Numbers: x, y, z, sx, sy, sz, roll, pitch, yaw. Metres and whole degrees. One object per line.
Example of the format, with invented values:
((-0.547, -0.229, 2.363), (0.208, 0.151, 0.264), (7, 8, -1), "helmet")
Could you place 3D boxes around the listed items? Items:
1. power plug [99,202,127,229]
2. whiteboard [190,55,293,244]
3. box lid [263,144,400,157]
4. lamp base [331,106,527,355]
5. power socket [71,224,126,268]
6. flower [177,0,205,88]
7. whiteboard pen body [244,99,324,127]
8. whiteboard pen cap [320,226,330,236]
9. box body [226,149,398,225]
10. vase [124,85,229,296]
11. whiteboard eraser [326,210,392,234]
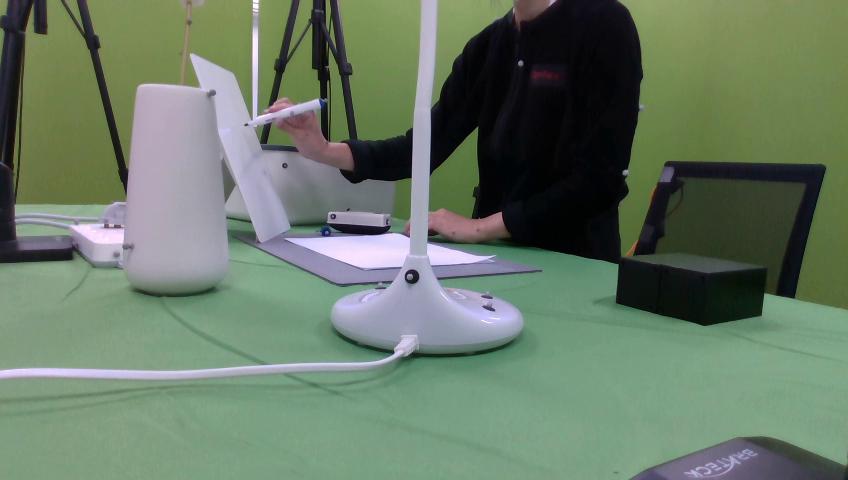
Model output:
((-0.415, -0.026, 0.848), (0.073, 0.052, 0.035), (6, 5, -28), "power plug")
((-0.362, -0.129, 1.029), (0.144, 0.305, 0.217), (-18, 7, 3), "whiteboard")
((-0.263, -0.203, 1.369), (0.262, 0.015, 0.373), (9, 10, 39), "box lid")
((0.006, -0.012, 0.478), (0.161, 0.180, 0.179), (2, 10, 2), "lamp base")
((-0.409, 0.004, 0.793), (0.072, 0.032, 0.225), (-2, 8, -37), "power socket")
((-0.243, -0.131, 0.609), (0.044, 0.361, 0.038), (-5, -12, 12), "flower")
((-0.240, -0.216, 1.035), (0.141, 0.017, 0.017), (-17, 9, -3), "whiteboard pen body")
((-0.176, -0.016, 1.075), (0.018, 0.018, 0.033), (1, 5, -13), "whiteboard pen cap")
((-0.265, -0.129, 1.380), (0.253, 0.160, 0.366), (8, 9, 39), "box body")
((-0.244, -0.047, 0.598), (0.098, 0.200, 0.098), (3, 8, 0), "vase")
((-0.121, -0.033, 1.131), (0.112, 0.042, 0.056), (4, 8, 13), "whiteboard eraser")
